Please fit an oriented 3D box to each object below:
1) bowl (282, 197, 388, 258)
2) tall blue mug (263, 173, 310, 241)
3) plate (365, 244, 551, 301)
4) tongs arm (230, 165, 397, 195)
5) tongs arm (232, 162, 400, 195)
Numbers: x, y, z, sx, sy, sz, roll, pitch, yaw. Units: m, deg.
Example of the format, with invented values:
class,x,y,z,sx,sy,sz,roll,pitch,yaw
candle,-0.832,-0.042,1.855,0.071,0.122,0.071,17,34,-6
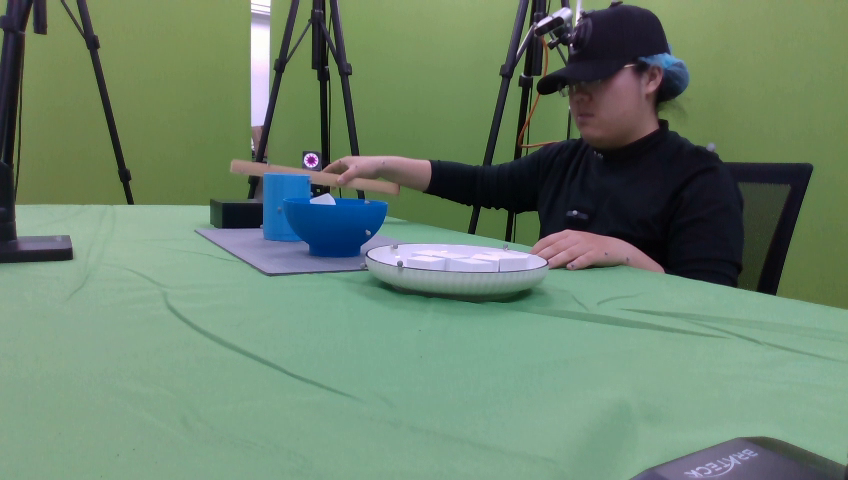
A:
class,x,y,z,sx,sy,sz,roll,pitch,yaw
bowl,-0.128,-0.018,0.869,0.151,0.077,0.151,2,8,0
tall blue mug,-0.233,-0.058,1.019,0.078,0.108,0.107,-1,8,-19
plate,0.038,0.035,0.685,0.209,0.038,0.209,2,7,0
tongs arm,-0.253,-0.140,1.419,0.389,0.027,0.028,6,-3,-13
tongs arm,-0.230,-0.136,1.354,0.387,0.026,0.050,5,1,-22
